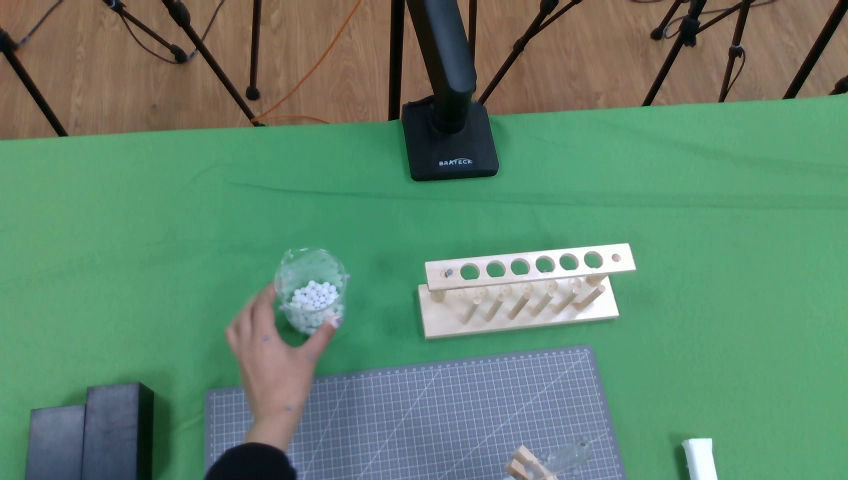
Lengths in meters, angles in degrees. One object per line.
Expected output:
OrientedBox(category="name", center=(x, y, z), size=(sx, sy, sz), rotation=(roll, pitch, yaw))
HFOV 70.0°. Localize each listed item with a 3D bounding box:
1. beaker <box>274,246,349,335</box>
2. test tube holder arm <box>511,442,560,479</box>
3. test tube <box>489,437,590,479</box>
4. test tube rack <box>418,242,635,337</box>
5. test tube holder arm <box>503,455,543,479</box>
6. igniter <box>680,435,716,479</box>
OrientedBox(category="beaker", center=(-0.125, 0.058, 0.676), size=(0.074, 0.101, 0.083), rotation=(-33, 72, -20))
OrientedBox(category="test tube holder arm", center=(0.142, 0.240, 0.511), size=(0.178, 0.015, 0.013), rotation=(43, 52, 6))
OrientedBox(category="test tube", center=(0.091, 0.194, 0.513), size=(0.017, 0.151, 0.017), rotation=(13, 54, -18))
OrientedBox(category="test tube rack", center=(0.120, 0.059, 0.714), size=(0.243, 0.085, 0.066), rotation=(-5, 67, -9))
OrientedBox(category="test tube holder arm", center=(0.105, 0.213, 0.511), size=(0.088, 0.015, 0.010), rotation=(37, 51, 1))
OrientedBox(category="igniter", center=(0.314, 0.350, 0.640), size=(0.057, 0.025, 0.274), rotation=(5, 65, -16))
